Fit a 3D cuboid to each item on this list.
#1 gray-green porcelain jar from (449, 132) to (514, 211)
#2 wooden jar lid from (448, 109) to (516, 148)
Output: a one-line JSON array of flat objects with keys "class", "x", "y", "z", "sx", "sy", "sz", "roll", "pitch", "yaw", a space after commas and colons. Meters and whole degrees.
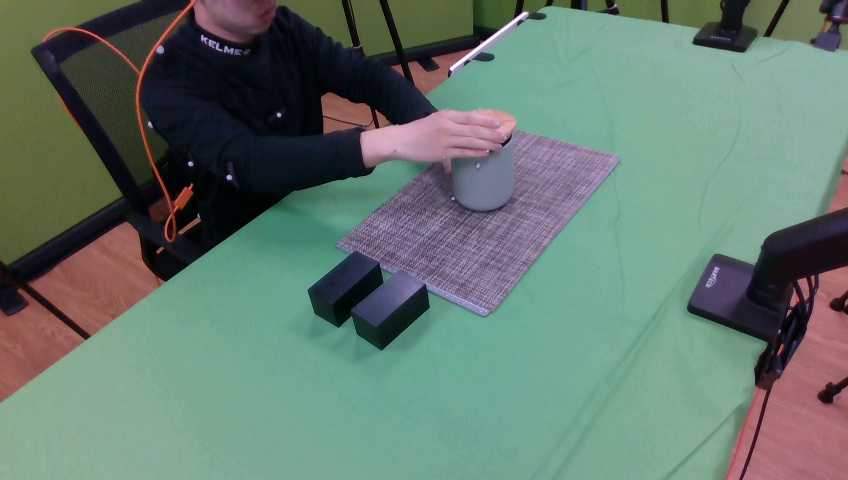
[{"class": "gray-green porcelain jar", "x": 0.098, "y": -0.120, "z": 1.009, "sx": 0.106, "sy": 0.127, "sz": 0.105, "roll": -4, "pitch": 41, "yaw": 4}, {"class": "wooden jar lid", "x": 0.092, "y": -0.176, "z": 0.957, "sx": 0.108, "sy": 0.021, "sz": 0.108, "roll": -6, "pitch": 35, "yaw": 5}]
